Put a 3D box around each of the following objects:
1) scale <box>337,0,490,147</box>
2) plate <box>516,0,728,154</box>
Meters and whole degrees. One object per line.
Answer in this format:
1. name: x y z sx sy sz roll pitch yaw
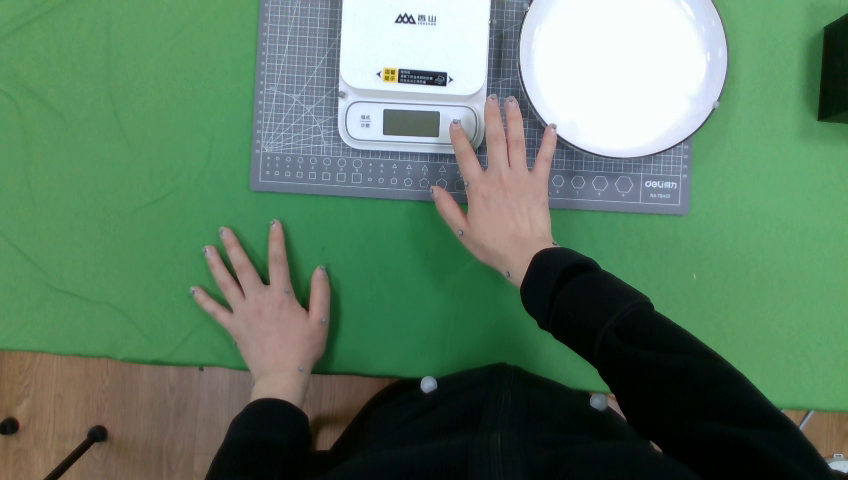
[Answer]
1. scale: -0.010 -0.197 0.606 0.149 0.031 0.201 3 90 -1
2. plate: 0.194 -0.186 0.605 0.209 0.038 0.209 0 89 -1
